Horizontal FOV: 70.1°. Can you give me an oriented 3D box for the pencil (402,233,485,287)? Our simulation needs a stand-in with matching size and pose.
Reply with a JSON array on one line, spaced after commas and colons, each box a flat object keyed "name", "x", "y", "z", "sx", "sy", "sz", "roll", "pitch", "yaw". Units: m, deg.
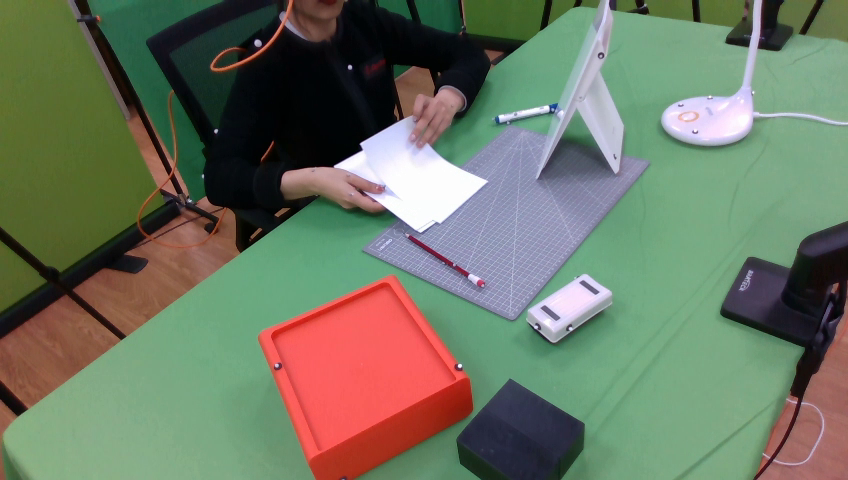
[{"name": "pencil", "x": 0.026, "y": 0.027, "z": 0.949, "sx": 0.012, "sy": 0.012, "sz": 0.192, "roll": -34, "pitch": 44, "yaw": -26}]

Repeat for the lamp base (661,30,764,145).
[{"name": "lamp base", "x": 0.535, "y": -0.287, "z": 1.096, "sx": 0.179, "sy": 0.181, "sz": 0.159, "roll": -10, "pitch": 40, "yaw": -4}]

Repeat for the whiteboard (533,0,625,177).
[{"name": "whiteboard", "x": 0.321, "y": -0.258, "z": 1.049, "sx": 0.144, "sy": 0.306, "sz": 0.217, "roll": 20, "pitch": 45, "yaw": 4}]

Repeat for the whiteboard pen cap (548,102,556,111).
[{"name": "whiteboard pen cap", "x": 0.273, "y": -0.279, "z": 1.259, "sx": 0.033, "sy": 0.018, "sz": 0.018, "roll": -10, "pitch": 40, "yaw": -5}]

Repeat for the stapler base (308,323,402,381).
[{"name": "stapler base", "x": -0.094, "y": 0.142, "z": 0.812, "sx": 0.131, "sy": 0.024, "sz": 0.041, "roll": -25, "pitch": 29, "yaw": -18}]

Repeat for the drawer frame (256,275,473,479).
[{"name": "drawer frame", "x": -0.078, "y": 0.164, "z": 0.756, "sx": 0.202, "sy": 0.083, "sz": 0.211, "roll": -23, "pitch": 43, "yaw": -17}]

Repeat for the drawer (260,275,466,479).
[{"name": "drawer", "x": -0.080, "y": 0.163, "z": 0.760, "sx": 0.195, "sy": 0.073, "sz": 0.210, "roll": -22, "pitch": 42, "yaw": -16}]

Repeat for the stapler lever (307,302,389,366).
[{"name": "stapler lever", "x": -0.101, "y": 0.121, "z": 0.799, "sx": 0.118, "sy": 0.040, "sz": 0.026, "roll": -26, "pitch": 29, "yaw": -17}]

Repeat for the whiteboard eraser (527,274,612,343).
[{"name": "whiteboard eraser", "x": 0.198, "y": 0.094, "z": 0.820, "sx": 0.113, "sy": 0.042, "sz": 0.055, "roll": -29, "pitch": 43, "yaw": -22}]

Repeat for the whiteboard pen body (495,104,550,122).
[{"name": "whiteboard pen body", "x": 0.216, "y": -0.266, "z": 1.255, "sx": 0.141, "sy": 0.017, "sz": 0.017, "roll": -12, "pitch": 40, "yaw": -5}]
